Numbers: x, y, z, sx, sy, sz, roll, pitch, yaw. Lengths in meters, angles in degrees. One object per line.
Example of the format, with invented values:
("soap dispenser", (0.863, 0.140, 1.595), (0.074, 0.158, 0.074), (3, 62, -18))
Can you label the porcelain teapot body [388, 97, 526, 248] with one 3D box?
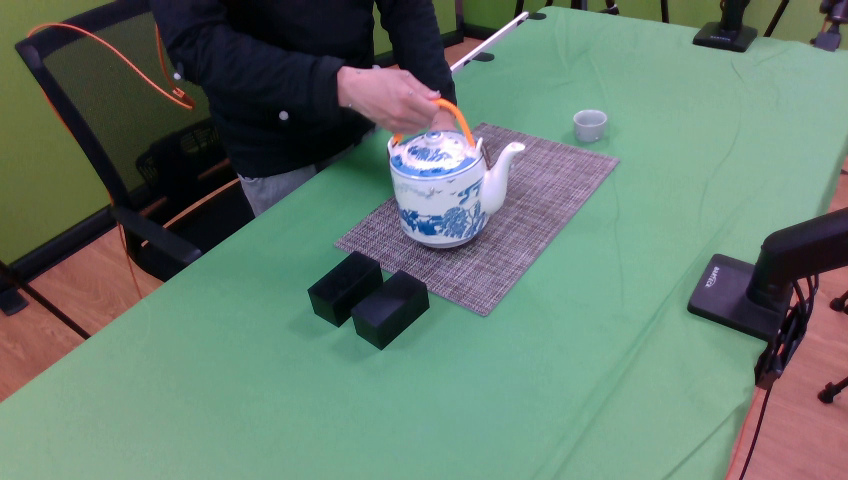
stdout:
("porcelain teapot body", (0.050, -0.107, 0.904), (0.205, 0.226, 0.145), (2, 39, 13))

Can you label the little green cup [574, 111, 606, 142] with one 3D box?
("little green cup", (0.318, -0.217, 1.164), (0.061, 0.039, 0.061), (-3, 41, 3))

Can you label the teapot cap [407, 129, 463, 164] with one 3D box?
("teapot cap", (0.016, -0.138, 0.886), (0.085, 0.044, 0.085), (-5, 40, 4))
